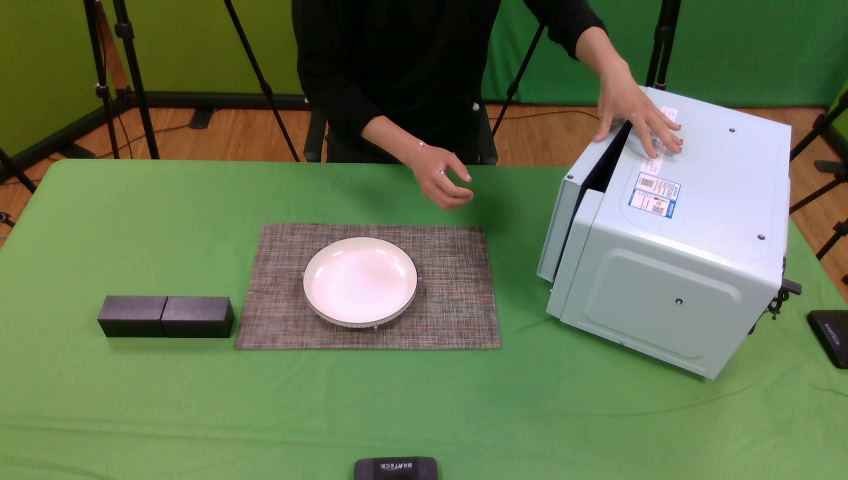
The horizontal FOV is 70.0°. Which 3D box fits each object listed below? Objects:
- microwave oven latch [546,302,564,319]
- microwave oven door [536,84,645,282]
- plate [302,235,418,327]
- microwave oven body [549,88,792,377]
[{"bbox_3d":[0.242,0.102,1.081,0.030,0.029,0.079,22,48,17],"label":"microwave oven latch"},{"bbox_3d":[0.323,-0.115,1.155,0.039,0.245,0.355,26,50,20],"label":"microwave oven door"},{"bbox_3d":[-0.114,0.077,1.098,0.208,0.039,0.206,2,46,-2],"label":"plate"},{"bbox_3d":[0.456,-0.028,1.088,0.325,0.261,0.440,20,47,16],"label":"microwave oven body"}]
